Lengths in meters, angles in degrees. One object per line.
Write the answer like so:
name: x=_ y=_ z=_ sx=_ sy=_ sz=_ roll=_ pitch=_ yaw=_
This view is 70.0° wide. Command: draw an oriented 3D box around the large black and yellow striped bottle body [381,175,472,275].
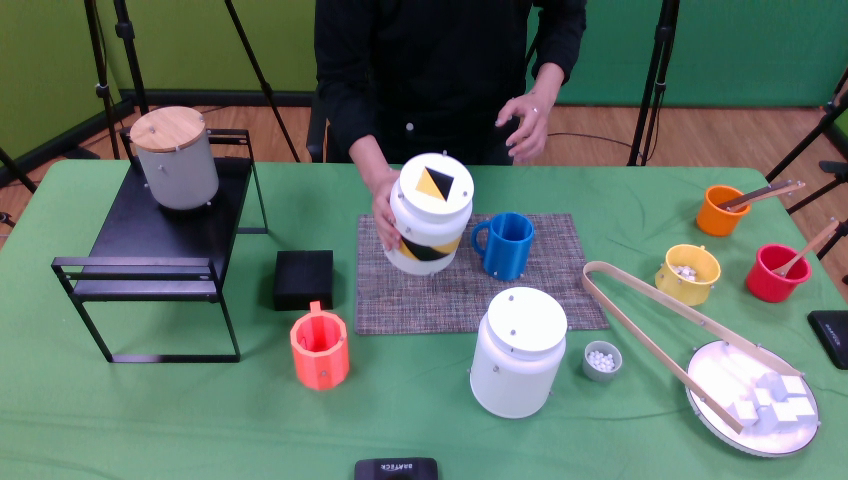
large black and yellow striped bottle body: x=0.003 y=-0.038 z=0.982 sx=0.131 sy=0.184 sz=0.130 roll=5 pitch=58 yaw=-8

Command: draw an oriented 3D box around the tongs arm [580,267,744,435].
tongs arm: x=0.384 y=0.174 z=1.029 sx=0.028 sy=0.028 sz=0.385 roll=-25 pitch=46 yaw=-14

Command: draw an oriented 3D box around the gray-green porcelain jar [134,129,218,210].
gray-green porcelain jar: x=-0.388 y=-0.120 z=0.960 sx=0.106 sy=0.127 sz=0.105 roll=2 pitch=46 yaw=-2

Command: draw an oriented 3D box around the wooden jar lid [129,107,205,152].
wooden jar lid: x=-0.385 y=-0.163 z=0.915 sx=0.108 sy=0.021 sz=0.107 roll=2 pitch=47 yaw=-2

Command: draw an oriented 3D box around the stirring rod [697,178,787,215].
stirring rod: x=0.650 y=-0.088 z=1.245 sx=0.006 sy=0.176 sz=0.014 roll=29 pitch=50 yaw=-39

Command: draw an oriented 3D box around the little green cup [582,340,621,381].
little green cup: x=0.295 y=0.203 z=1.014 sx=0.061 sy=0.039 sz=0.061 roll=2 pitch=45 yaw=-2

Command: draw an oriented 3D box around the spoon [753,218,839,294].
spoon: x=0.700 y=0.031 z=1.138 sx=0.194 sy=0.022 sz=0.041 roll=-47 pitch=55 yaw=14

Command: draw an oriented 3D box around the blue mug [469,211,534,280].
blue mug: x=0.141 y=0.005 z=1.140 sx=0.116 sy=0.106 sz=0.082 roll=18 pitch=48 yaw=13

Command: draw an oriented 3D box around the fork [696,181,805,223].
fork: x=0.659 y=-0.077 z=1.232 sx=0.207 sy=0.019 sz=0.028 roll=-26 pitch=35 yaw=34

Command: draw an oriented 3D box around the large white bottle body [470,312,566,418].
large white bottle body: x=0.143 y=0.173 z=0.930 sx=0.131 sy=0.185 sz=0.130 roll=2 pitch=47 yaw=-2

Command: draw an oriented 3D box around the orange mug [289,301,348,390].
orange mug: x=-0.170 y=0.162 z=0.976 sx=0.083 sy=0.101 sz=0.125 roll=-8 pitch=52 yaw=-11

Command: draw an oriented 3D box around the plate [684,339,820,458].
plate: x=0.523 y=0.256 z=0.982 sx=0.208 sy=0.039 sz=0.206 roll=2 pitch=46 yaw=-2

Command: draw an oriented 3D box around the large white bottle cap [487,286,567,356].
large white bottle cap: x=0.147 y=0.114 z=0.869 sx=0.115 sy=0.018 sz=0.114 roll=3 pitch=46 yaw=-3

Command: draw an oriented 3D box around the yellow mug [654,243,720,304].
yellow mug: x=0.504 y=0.054 z=1.154 sx=0.099 sy=0.064 sz=0.130 roll=28 pitch=50 yaw=22

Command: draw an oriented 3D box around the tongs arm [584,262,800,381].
tongs arm: x=0.451 y=0.137 z=1.064 sx=0.051 sy=0.027 sz=0.382 roll=-34 pitch=50 yaw=-27

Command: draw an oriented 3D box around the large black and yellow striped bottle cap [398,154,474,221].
large black and yellow striped bottle cap: x=0.018 y=-0.081 z=0.911 sx=0.115 sy=0.019 sz=0.114 roll=5 pitch=58 yaw=-7
